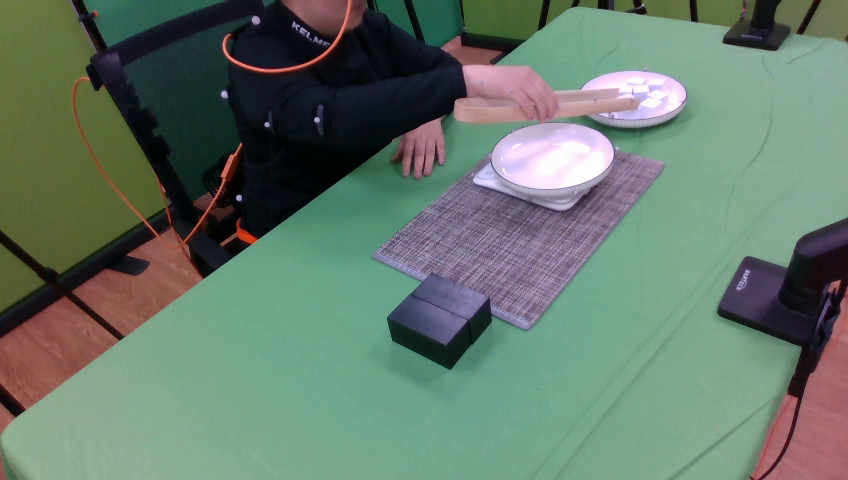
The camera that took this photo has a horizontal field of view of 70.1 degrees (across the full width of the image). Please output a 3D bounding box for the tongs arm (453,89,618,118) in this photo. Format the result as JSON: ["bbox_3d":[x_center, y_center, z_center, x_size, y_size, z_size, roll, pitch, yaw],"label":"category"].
[{"bbox_3d":[0.209,-0.246,1.074,0.390,0.028,0.028,-11,37,-30],"label":"tongs arm"}]

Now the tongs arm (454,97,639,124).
[{"bbox_3d":[0.225,-0.230,1.049,0.387,0.026,0.050,-12,34,-30],"label":"tongs arm"}]

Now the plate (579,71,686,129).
[{"bbox_3d":[0.416,-0.279,1.222,0.209,0.038,0.208,-5,41,5],"label":"plate"}]

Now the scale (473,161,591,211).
[{"bbox_3d":[0.202,-0.121,1.074,0.199,0.032,0.149,23,49,33],"label":"scale"}]

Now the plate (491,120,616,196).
[{"bbox_3d":[0.221,-0.137,1.038,0.207,0.039,0.206,-6,41,5],"label":"plate"}]
